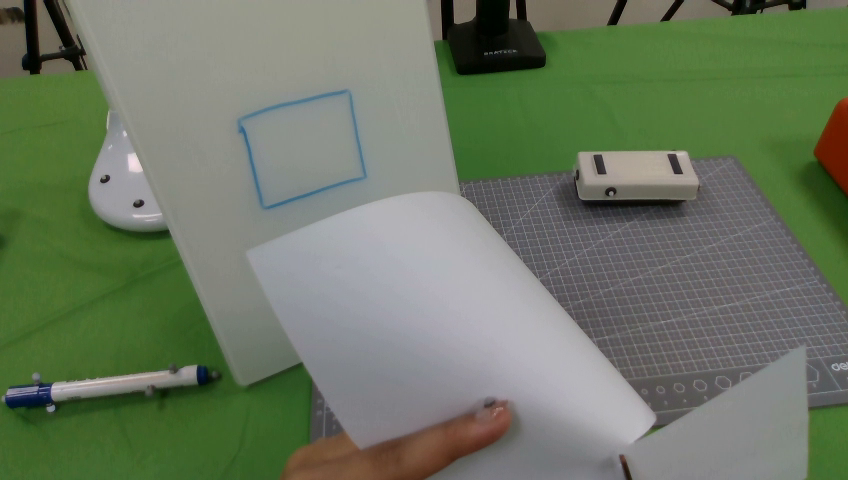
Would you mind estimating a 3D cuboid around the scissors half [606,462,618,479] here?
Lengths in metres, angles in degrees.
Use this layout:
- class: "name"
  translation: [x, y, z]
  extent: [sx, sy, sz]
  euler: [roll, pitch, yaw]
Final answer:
- class: "scissors half"
  translation: [0.101, 0.154, 0.260]
  extent: [0.013, 0.177, 0.040]
  euler: [-24, 27, 3]

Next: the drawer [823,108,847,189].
- class: "drawer"
  translation: [0.518, -0.045, 0.551]
  extent: [0.194, 0.074, 0.209]
  euler: [-4, 45, 0]

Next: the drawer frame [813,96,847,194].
- class: "drawer frame"
  translation: [0.517, -0.050, 0.555]
  extent: [0.202, 0.083, 0.211]
  euler: [-5, 45, -1]

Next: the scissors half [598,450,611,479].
- class: "scissors half"
  translation: [0.101, 0.160, 0.239]
  extent: [0.013, 0.175, 0.040]
  euler: [-23, 4, 8]

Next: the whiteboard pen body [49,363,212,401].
- class: "whiteboard pen body"
  translation: [-0.240, 0.112, 0.473]
  extent: [0.141, 0.017, 0.017]
  euler: [-6, 45, -8]

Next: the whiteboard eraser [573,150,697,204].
- class: "whiteboard eraser"
  translation: [0.209, -0.062, 0.607]
  extent: [0.112, 0.042, 0.055]
  euler: [-1, 44, 2]

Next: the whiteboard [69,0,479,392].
- class: "whiteboard"
  translation: [-0.103, -0.075, 0.493]
  extent: [0.217, 0.308, 0.142]
  euler: [-21, 29, -16]

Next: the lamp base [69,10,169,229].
- class: "lamp base"
  translation: [-0.286, -0.127, 0.601]
  extent: [0.178, 0.182, 0.160]
  euler: [24, 51, 28]

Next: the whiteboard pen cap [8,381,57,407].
- class: "whiteboard pen cap"
  translation: [-0.298, 0.118, 0.466]
  extent: [0.033, 0.018, 0.018]
  euler: [-4, 45, -10]
